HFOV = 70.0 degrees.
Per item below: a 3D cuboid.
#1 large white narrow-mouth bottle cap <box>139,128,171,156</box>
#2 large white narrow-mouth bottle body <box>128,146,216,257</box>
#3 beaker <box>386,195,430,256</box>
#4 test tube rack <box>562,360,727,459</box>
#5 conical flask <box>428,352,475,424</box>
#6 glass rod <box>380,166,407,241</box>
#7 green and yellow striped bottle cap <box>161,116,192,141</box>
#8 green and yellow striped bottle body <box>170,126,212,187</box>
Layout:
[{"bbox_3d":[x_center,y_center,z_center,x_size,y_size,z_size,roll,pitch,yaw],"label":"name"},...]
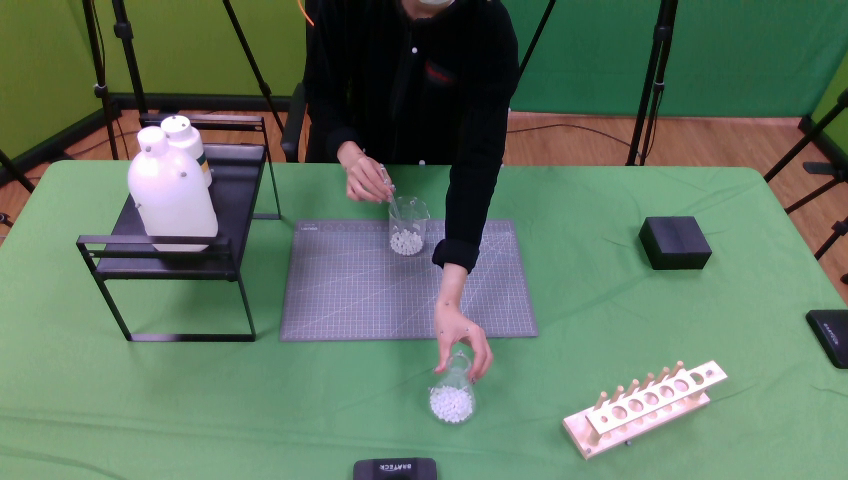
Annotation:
[{"bbox_3d":[-0.358,-0.131,0.807,0.038,0.024,0.037,3,47,-3],"label":"large white narrow-mouth bottle cap"},{"bbox_3d":[-0.365,-0.072,0.872,0.102,0.195,0.101,3,47,-3],"label":"large white narrow-mouth bottle body"},{"bbox_3d":[-0.031,-0.024,1.161,0.084,0.101,0.073,18,48,12],"label":"beaker"},{"bbox_3d":[0.341,0.247,0.940,0.243,0.085,0.066,-16,49,-18],"label":"test tube rack"},{"bbox_3d":[0.046,0.220,0.920,0.075,0.122,0.075,2,46,-2],"label":"conical flask"},{"bbox_3d":[-0.054,-0.063,1.119,0.008,0.201,0.008,-7,49,9],"label":"glass rod"},{"bbox_3d":[-0.387,-0.174,0.946,0.045,0.020,0.045,3,44,-3],"label":"green and yellow striped bottle cap"},{"bbox_3d":[-0.388,-0.139,0.984,0.063,0.120,0.063,2,46,-2],"label":"green and yellow striped bottle body"}]
